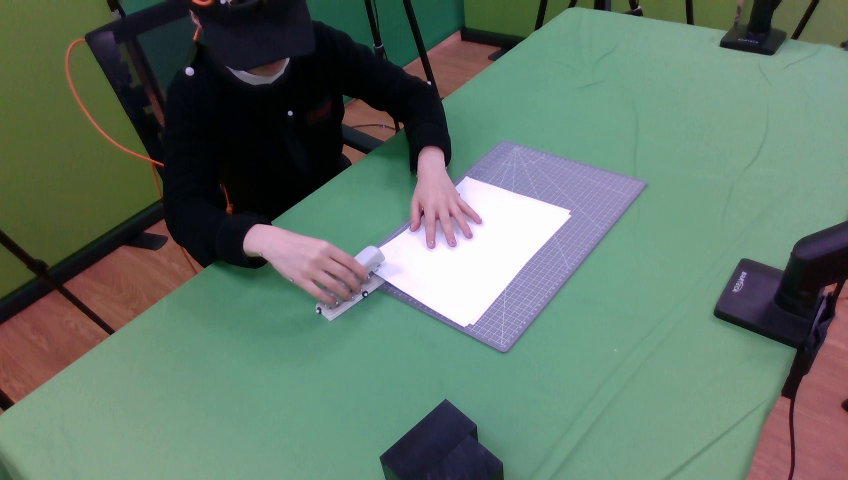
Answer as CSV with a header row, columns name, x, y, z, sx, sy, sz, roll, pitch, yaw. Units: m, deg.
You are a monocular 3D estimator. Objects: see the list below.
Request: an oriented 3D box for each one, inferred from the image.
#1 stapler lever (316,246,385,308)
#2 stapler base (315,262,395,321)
name,x,y,z,sx,sy,sz,roll,pitch,yaw
stapler lever,-0.108,0.051,0.888,0.118,0.040,0.026,-36,45,-26
stapler base,-0.103,0.068,0.905,0.131,0.024,0.041,-37,45,-25
